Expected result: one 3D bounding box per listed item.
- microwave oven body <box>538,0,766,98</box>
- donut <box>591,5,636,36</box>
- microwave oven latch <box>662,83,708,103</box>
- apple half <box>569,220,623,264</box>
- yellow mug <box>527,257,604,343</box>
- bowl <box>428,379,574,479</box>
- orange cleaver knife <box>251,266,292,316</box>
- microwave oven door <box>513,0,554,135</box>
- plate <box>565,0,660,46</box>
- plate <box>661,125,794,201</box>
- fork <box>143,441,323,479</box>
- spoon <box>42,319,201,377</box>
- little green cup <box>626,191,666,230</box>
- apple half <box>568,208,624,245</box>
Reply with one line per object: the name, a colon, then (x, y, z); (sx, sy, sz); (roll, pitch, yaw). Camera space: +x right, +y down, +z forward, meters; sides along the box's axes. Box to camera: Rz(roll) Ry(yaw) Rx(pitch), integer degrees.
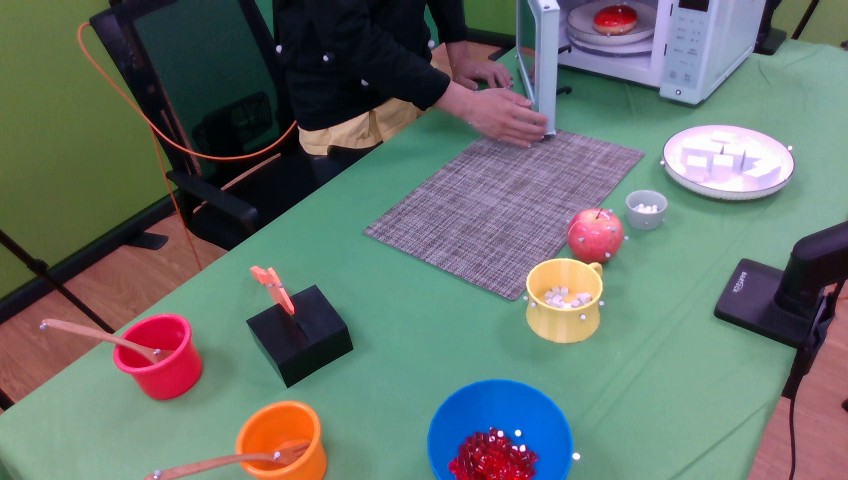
microwave oven body: (0.472, -0.513, 1.317); (0.438, 0.261, 0.327); (26, 51, 34)
donut: (0.426, -0.497, 1.365); (0.099, 0.048, 0.098); (-3, 42, 3)
microwave oven latch: (0.518, -0.296, 1.204); (0.078, 0.029, 0.030); (28, 52, 35)
apple half: (0.251, 0.010, 0.884); (0.081, 0.081, 0.032); (3, 37, 12)
yellow mug: (0.201, 0.072, 0.825); (0.131, 0.064, 0.099); (-32, 46, -27)
bowl: (0.082, 0.233, 0.644); (0.151, 0.077, 0.150); (-4, 39, 4)
orange cleaver knife: (-0.221, 0.071, 0.873); (0.012, 0.077, 0.210); (-25, 11, -21)
microwave oven door: (0.219, -0.407, 1.223); (0.039, 0.245, 0.354); (-5, 40, 3)
plate: (0.427, -0.489, 1.376); (0.209, 0.038, 0.208); (-5, 40, 4)
plate: (0.513, -0.128, 1.035); (0.207, 0.039, 0.206); (-4, 40, 4)
fork: (-0.189, 0.231, 0.631); (0.028, 0.018, 0.209); (36, 13, 37)
spoon: (-0.385, 0.135, 0.779); (0.195, 0.021, 0.041); (29, 36, -26)
little green cup: (0.352, -0.046, 0.963); (0.061, 0.039, 0.061); (-4, 40, 4)
apple half: (0.259, -0.014, 0.914); (0.080, 0.075, 0.053); (0, 36, 15)
